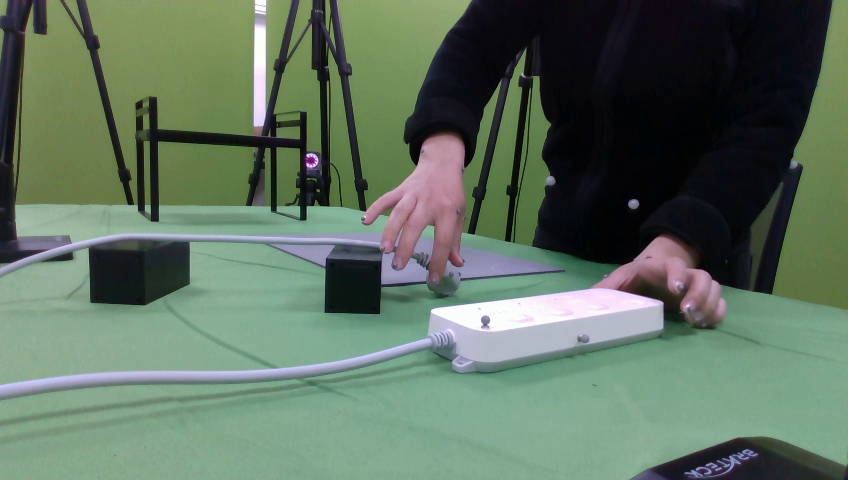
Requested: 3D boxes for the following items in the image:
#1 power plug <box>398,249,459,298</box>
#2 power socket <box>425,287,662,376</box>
[{"bbox_3d":[0.005,0.031,0.634,0.072,0.035,0.052,38,-31,2],"label":"power plug"},{"bbox_3d":[0.102,0.066,0.481,0.228,0.032,0.072,-4,9,-35],"label":"power socket"}]
